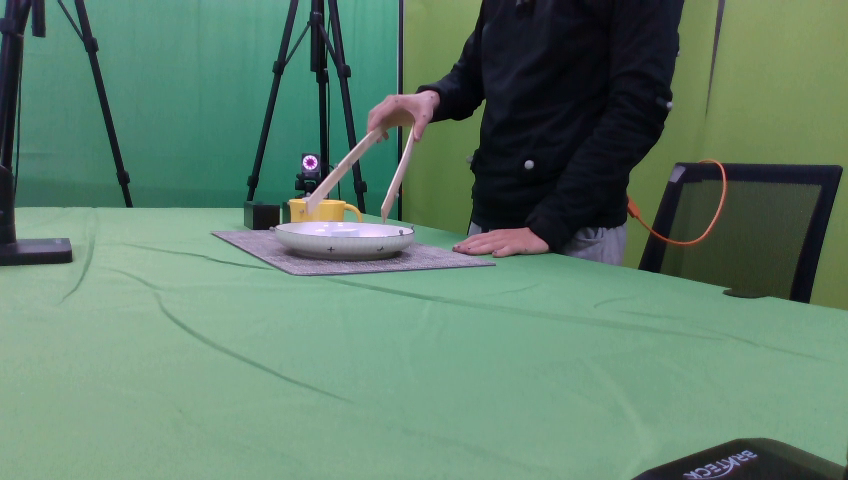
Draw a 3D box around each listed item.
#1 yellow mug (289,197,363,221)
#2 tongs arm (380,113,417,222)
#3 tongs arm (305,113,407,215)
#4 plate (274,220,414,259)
[{"bbox_3d":[-0.173,-0.039,1.072,0.131,0.064,0.100,3,7,0],"label":"yellow mug"},{"bbox_3d":[-0.041,-0.134,1.013,0.028,0.028,0.387,-2,31,8],"label":"tongs arm"},{"bbox_3d":[-0.102,-0.140,1.024,0.050,0.026,0.385,5,32,13],"label":"tongs arm"},{"bbox_3d":[-0.118,-0.001,0.903,0.208,0.039,0.207,3,7,0],"label":"plate"}]
